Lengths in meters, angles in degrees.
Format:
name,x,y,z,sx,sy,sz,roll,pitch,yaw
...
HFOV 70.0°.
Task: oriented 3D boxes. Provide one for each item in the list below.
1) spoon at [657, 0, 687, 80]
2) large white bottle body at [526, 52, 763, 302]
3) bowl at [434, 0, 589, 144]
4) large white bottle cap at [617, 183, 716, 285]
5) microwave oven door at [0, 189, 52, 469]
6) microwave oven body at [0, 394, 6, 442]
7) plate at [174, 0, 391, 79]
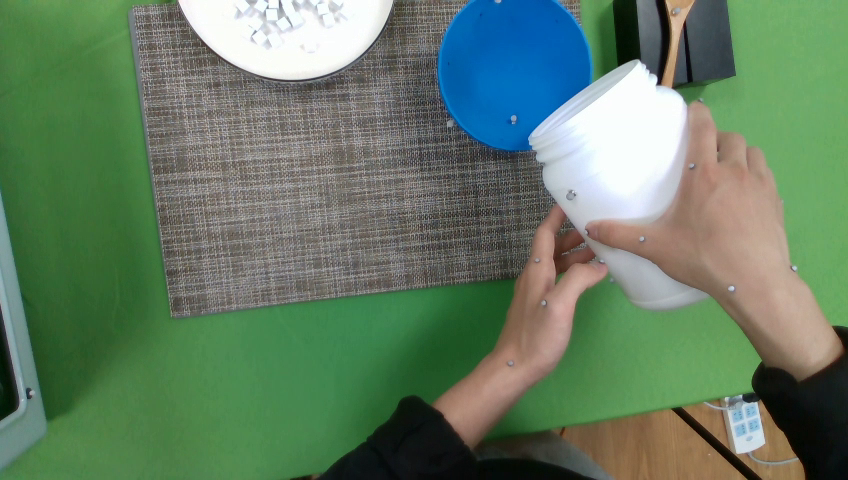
name,x,y,z,sx,sy,sz,roll,pitch,yaw
spoon,0.245,-0.196,0.613,0.042,0.021,0.194,5,99,-12
large white bottle body,0.184,-0.054,0.522,0.130,0.130,0.185,-40,100,-5
bowl,0.077,-0.167,0.600,0.152,0.076,0.151,-1,94,-9
large white bottle cap,0.273,-0.006,0.680,0.115,0.018,0.115,-1,95,-11
microwave oven door,-0.376,0.015,0.441,0.039,0.243,0.356,-9,96,-8
microwave oven body,-0.526,-0.005,0.418,0.327,0.259,0.442,-9,96,-9
plate,-0.133,-0.255,0.578,0.209,0.038,0.209,0,91,-9
